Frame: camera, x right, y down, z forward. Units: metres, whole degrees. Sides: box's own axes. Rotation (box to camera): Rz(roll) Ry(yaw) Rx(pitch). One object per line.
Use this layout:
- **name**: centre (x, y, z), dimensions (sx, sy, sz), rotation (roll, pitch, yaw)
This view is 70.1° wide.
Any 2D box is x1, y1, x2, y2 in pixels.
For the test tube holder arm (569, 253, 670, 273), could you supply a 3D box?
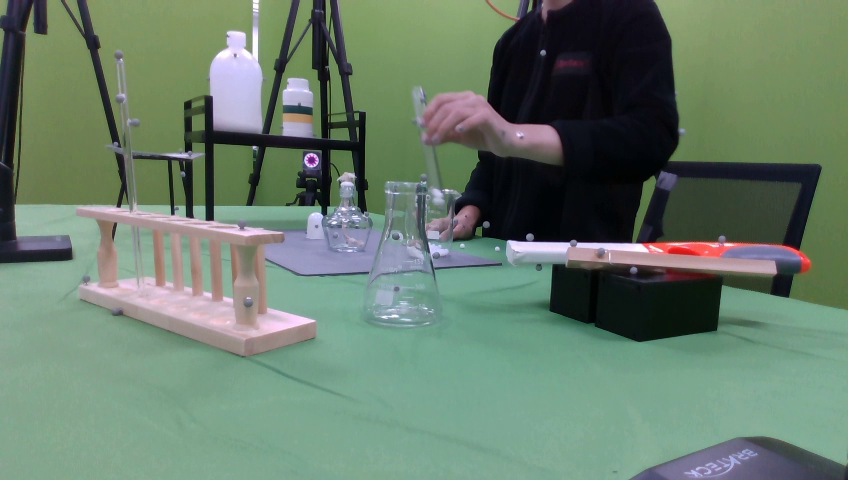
- **test tube holder arm**: centre (0.172, 0.019, 0.532), dimensions (0.088, 0.015, 0.010), rotation (3, -24, 3)

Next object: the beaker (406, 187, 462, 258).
- **beaker**: centre (0.013, -0.026, 0.893), dimensions (0.084, 0.100, 0.074), rotation (3, 8, -2)

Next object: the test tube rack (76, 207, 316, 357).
- **test tube rack**: centre (-0.196, 0.023, 0.500), dimensions (0.241, 0.085, 0.067), rotation (8, 9, 36)

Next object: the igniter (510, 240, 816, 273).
- **igniter**: centre (0.220, 0.015, 0.565), dimensions (0.277, 0.025, 0.057), rotation (2, 16, 0)

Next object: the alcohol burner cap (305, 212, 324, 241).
- **alcohol burner cap**: centre (-0.185, -0.023, 1.027), dimensions (0.034, 0.048, 0.034), rotation (2, 7, 0)

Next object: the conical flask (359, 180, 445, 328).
- **conical flask**: centre (-0.017, 0.010, 0.522), dimensions (0.075, 0.122, 0.075), rotation (2, 7, 0)

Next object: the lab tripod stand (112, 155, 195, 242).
- **lab tripod stand**: centre (-0.405, -0.064, 0.931), dimensions (0.148, 0.131, 0.148), rotation (1, 6, 0)

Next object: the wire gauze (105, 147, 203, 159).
- **wire gauze**: centre (-0.407, -0.131, 0.928), dimensions (0.125, 0.011, 0.121), rotation (2, 5, -11)

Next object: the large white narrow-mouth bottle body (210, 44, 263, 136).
- **large white narrow-mouth bottle body**: centre (-0.369, -0.305, 1.194), dimensions (0.102, 0.194, 0.102), rotation (3, 8, 0)

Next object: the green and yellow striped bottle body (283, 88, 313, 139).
- **green and yellow striped bottle body**: centre (-0.266, -0.275, 1.275), dimensions (0.063, 0.119, 0.063), rotation (2, 7, 0)

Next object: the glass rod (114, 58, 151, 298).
- **glass rod**: centre (-0.236, -0.044, 0.492), dimensions (0.008, 0.199, 0.008), rotation (0, 15, 0)

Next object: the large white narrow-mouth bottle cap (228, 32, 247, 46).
- **large white narrow-mouth bottle cap**: centre (-0.364, -0.390, 1.180), dimensions (0.038, 0.024, 0.037), rotation (3, 8, 0)

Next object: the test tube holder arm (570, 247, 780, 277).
- **test tube holder arm**: centre (0.217, 0.019, 0.525), dimensions (0.178, 0.015, 0.013), rotation (3, -24, 3)

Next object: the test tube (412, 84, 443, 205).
- **test tube**: centre (0.004, -0.114, 0.714), dimensions (0.017, 0.150, 0.017), rotation (-9, -11, -1)

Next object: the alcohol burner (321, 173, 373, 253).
- **alcohol burner**: centre (-0.115, -0.041, 0.905), dimensions (0.078, 0.119, 0.078), rotation (1, 6, 0)

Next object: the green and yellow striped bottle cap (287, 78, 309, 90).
- **green and yellow striped bottle cap**: centre (-0.265, -0.326, 1.268), dimensions (0.045, 0.020, 0.045), rotation (4, 6, 0)
